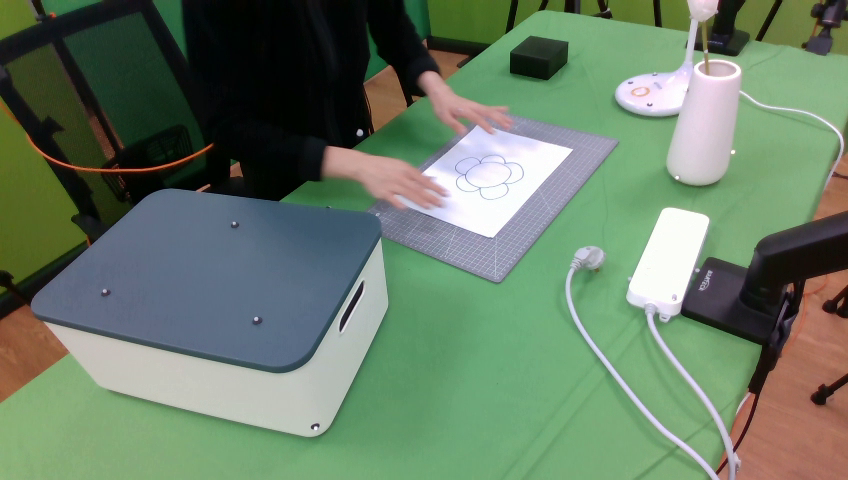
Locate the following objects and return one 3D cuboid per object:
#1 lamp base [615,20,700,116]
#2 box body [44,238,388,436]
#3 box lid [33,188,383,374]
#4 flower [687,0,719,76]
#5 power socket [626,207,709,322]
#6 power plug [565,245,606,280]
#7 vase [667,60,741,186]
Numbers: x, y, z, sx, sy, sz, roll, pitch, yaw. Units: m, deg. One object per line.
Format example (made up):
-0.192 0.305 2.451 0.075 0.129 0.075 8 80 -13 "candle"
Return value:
0.484 -0.364 1.211 0.180 0.181 0.159 -15 41 -14 "lamp base"
-0.251 0.088 0.799 0.362 0.161 0.254 7 42 16 "box body"
-0.257 0.032 0.751 0.370 0.015 0.263 8 42 16 "box lid"
0.436 -0.242 0.934 0.038 0.364 0.043 -24 49 9 "flower"
0.360 0.026 0.886 0.072 0.033 0.227 17 46 26 "power socket"
0.235 0.037 0.889 0.072 0.053 0.035 -41 38 2 "power plug"
0.463 -0.189 0.994 0.098 0.201 0.097 -4 40 4 "vase"
